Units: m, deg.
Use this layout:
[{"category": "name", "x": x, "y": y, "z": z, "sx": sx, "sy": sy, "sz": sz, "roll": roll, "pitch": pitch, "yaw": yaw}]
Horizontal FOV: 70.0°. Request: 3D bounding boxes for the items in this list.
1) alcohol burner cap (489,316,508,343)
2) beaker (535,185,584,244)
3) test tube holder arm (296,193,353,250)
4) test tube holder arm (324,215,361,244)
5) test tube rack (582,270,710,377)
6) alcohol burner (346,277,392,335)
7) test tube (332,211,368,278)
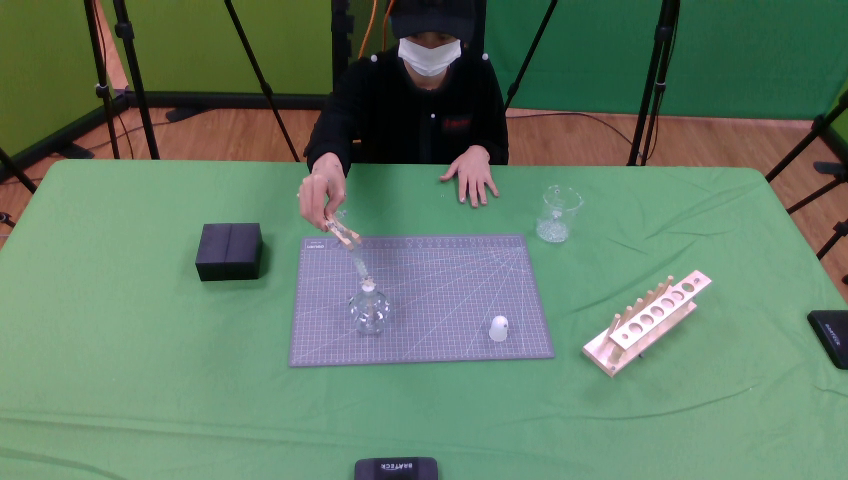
[{"category": "alcohol burner cap", "x": 0.130, "y": 0.151, "z": 1.045, "sx": 0.034, "sy": 0.048, "sz": 0.033, "roll": 2, "pitch": 46, "yaw": -2}, {"category": "beaker", "x": 0.268, "y": -0.048, "z": 1.213, "sx": 0.084, "sy": 0.101, "sz": 0.073, "roll": 6, "pitch": 46, "yaw": 0}, {"category": "test tube holder arm", "x": -0.157, "y": -0.032, "z": 0.939, "sx": 0.013, "sy": 0.015, "sz": 0.177, "roll": -35, "pitch": 44, "yaw": -18}, {"category": "test tube holder arm", "x": -0.126, "y": -0.017, "z": 0.911, "sx": 0.087, "sy": 0.015, "sz": 0.010, "roll": 28, "pitch": 59, "yaw": 39}, {"category": "test tube rack", "x": 0.389, "y": 0.132, "z": 1.057, "sx": 0.242, "sy": 0.085, "sz": 0.066, "roll": -28, "pitch": 53, "yaw": -28}, {"category": "alcohol burner", "x": -0.093, "y": 0.106, "z": 1.021, "sx": 0.078, "sy": 0.120, "sz": 0.077, "roll": 1, "pitch": 46, "yaw": -1}, {"category": "test tube", "x": -0.110, "y": 0.011, "z": 0.913, "sx": 0.017, "sy": 0.151, "sz": 0.017, "roll": -7, "pitch": 50, "yaw": 8}]
